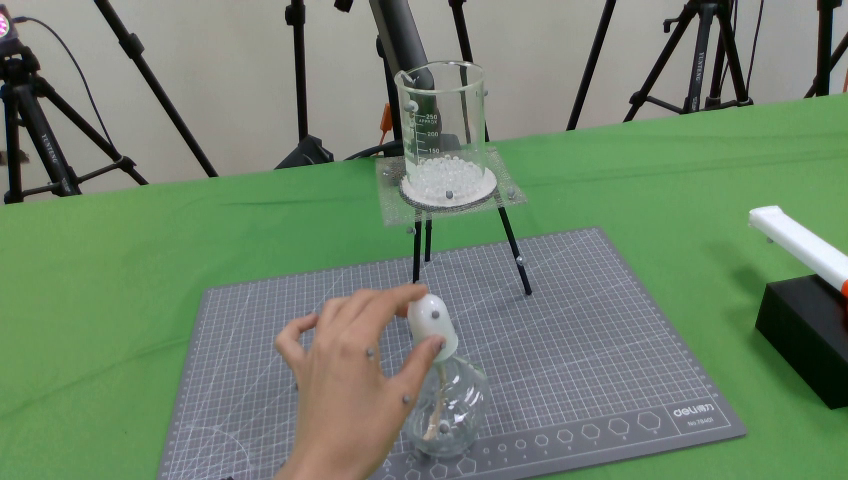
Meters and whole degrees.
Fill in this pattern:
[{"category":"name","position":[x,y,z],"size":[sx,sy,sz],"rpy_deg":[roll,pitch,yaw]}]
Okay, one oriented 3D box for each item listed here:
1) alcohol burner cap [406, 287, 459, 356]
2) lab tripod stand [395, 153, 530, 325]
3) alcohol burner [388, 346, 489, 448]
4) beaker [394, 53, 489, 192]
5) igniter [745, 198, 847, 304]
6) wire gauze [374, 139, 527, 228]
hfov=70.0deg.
[{"category":"alcohol burner cap","position":[0.004,0.053,0.419],"size":[0.034,0.048,0.033],"rpy_deg":[-9,38,8]},{"category":"lab tripod stand","position":[0.029,-0.007,0.581],"size":[0.148,0.132,0.147],"rpy_deg":[-3,34,2]},{"category":"alcohol burner","position":[0.010,0.099,0.452],"size":[0.078,0.120,0.077],"rpy_deg":[-3,37,3]},{"category":"beaker","position":[0.014,-0.099,0.514],"size":[0.074,0.101,0.083],"rpy_deg":[-30,41,-32]},{"category":"igniter","position":[0.356,0.036,0.489],"size":[0.057,0.025,0.273],"rpy_deg":[-10,32,-5]},{"category":"wire gauze","position":[0.018,-0.058,0.541],"size":[0.121,0.011,0.123],"rpy_deg":[-9,37,-3]}]
